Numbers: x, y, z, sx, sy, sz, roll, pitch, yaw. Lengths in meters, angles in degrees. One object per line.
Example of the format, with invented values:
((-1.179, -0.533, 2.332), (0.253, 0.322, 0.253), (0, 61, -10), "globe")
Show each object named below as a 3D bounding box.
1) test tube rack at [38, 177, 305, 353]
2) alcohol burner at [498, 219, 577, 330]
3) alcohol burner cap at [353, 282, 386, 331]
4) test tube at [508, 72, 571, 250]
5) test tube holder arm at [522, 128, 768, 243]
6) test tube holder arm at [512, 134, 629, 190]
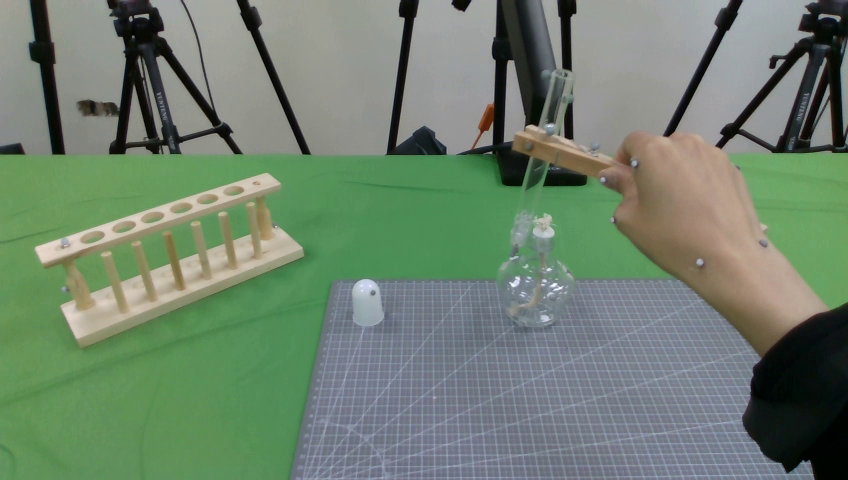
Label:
((-0.254, 0.018, 0.643), (0.243, 0.086, 0.066), (-24, 41, -31), "test tube rack")
((0.112, 0.029, 0.591), (0.078, 0.120, 0.077), (1, 36, 0), "alcohol burner")
((-0.056, 0.064, 0.606), (0.034, 0.048, 0.033), (0, 35, 0), "alcohol burner cap")
((0.085, -0.053, 0.456), (0.017, 0.151, 0.017), (5, 37, -4), "test tube")
((0.142, -0.041, 0.414), (0.177, 0.015, 0.013), (28, 46, 29), "test tube holder arm")
((0.103, -0.056, 0.431), (0.087, 0.015, 0.010), (23, 43, 24), "test tube holder arm")
